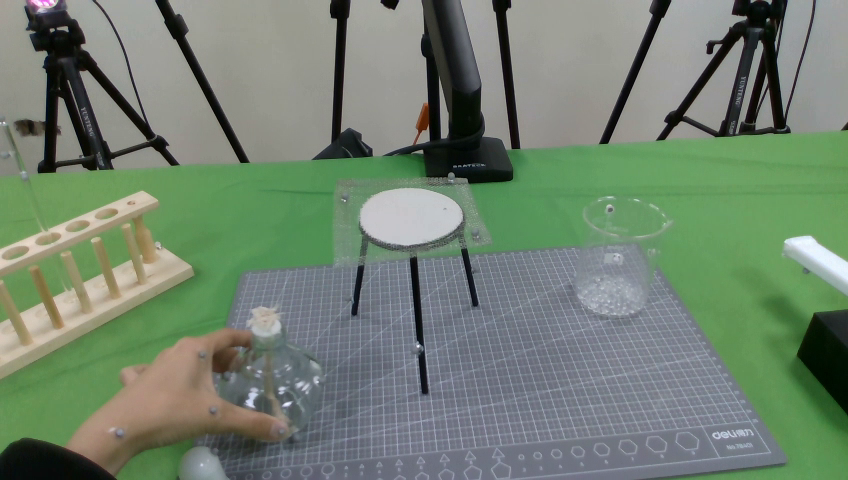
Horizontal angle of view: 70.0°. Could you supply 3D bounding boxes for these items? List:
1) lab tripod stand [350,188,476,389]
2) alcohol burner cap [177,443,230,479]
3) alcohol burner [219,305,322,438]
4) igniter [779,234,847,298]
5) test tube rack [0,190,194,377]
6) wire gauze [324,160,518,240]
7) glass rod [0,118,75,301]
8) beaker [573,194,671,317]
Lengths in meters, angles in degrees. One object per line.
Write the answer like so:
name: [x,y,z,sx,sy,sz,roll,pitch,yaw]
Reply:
lab tripod stand: [-0.008,0.034,0.535,0.148,0.132,0.147,0,35,0]
alcohol burner cap: [-0.159,0.164,0.431,0.034,0.048,0.033,1,37,0]
alcohol burner: [-0.117,0.095,0.463,0.078,0.120,0.077,6,35,-4]
igniter: [0.393,0.069,0.481,0.057,0.025,0.273,-9,31,-10]
test tube rack: [-0.357,0.044,0.584,0.066,0.086,0.242,25,42,34]
wire gauze: [-0.006,-0.033,0.485,0.125,0.011,0.120,-10,31,-25]
glass rod: [-0.354,-0.018,0.557,0.008,0.201,0.008,2,36,-1]
beaker: [0.186,0.017,0.582,0.084,0.101,0.073,0,35,3]
